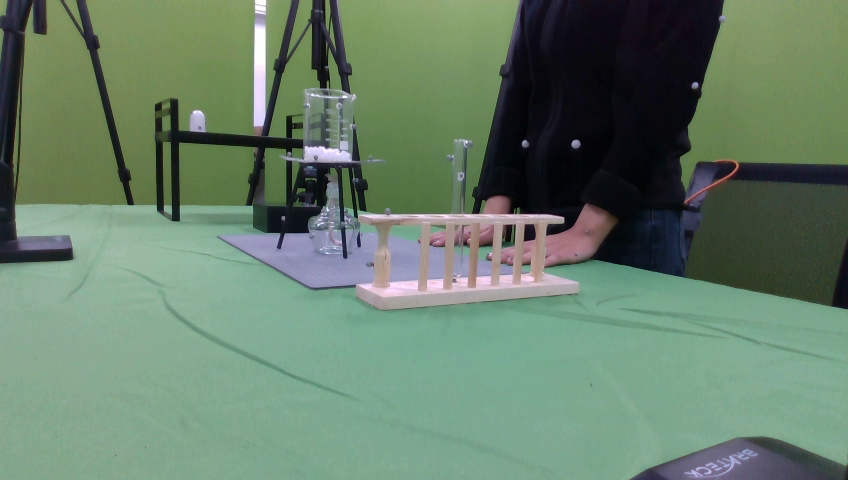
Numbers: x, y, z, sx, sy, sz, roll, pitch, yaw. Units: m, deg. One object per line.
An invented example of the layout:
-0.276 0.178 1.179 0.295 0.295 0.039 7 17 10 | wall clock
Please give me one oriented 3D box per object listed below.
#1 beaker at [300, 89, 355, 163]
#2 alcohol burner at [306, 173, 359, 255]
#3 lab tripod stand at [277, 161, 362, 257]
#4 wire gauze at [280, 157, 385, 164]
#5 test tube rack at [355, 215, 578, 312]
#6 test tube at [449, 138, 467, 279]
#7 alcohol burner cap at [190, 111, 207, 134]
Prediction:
-0.136 -0.161 0.867 0.083 0.100 0.074 5 8 24 | beaker
-0.133 -0.038 0.883 0.078 0.119 0.078 1 6 0 | alcohol burner
-0.143 -0.049 0.884 0.148 0.131 0.148 1 9 0 | lab tripod stand
-0.134 -0.113 0.875 0.122 0.011 0.124 -1 6 -30 | wire gauze
0.053 0.018 0.641 0.243 0.085 0.066 -1 8 -29 | test tube rack
0.035 -0.033 0.645 0.017 0.150 0.017 3 4 0 | test tube
-0.469 -0.244 1.257 0.034 0.048 0.034 1 6 0 | alcohol burner cap
